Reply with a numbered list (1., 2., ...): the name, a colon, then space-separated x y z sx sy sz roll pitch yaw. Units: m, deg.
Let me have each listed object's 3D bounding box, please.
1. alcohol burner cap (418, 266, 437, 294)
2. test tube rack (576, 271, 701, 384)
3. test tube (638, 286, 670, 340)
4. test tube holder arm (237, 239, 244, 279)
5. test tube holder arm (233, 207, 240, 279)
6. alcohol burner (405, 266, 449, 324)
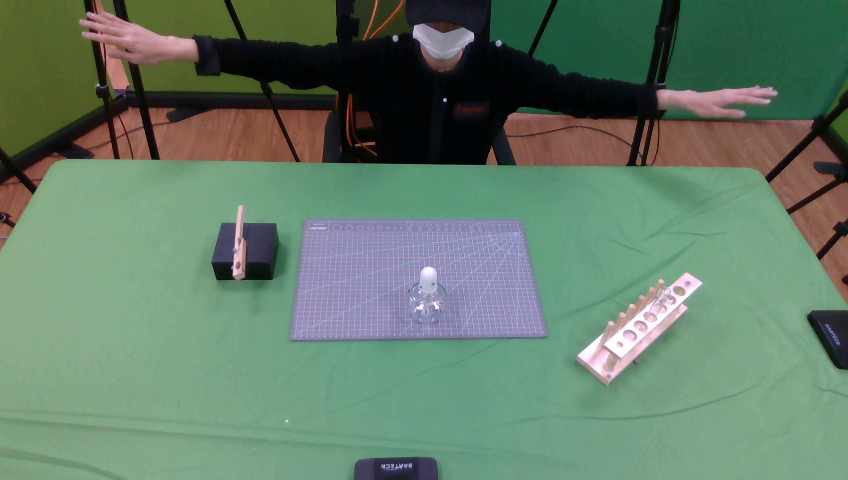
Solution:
1. alcohol burner cap: 0.006 0.065 1.017 0.034 0.048 0.033 1 48 0
2. test tube rack: 0.373 0.138 1.047 0.242 0.085 0.066 -31 56 -29
3. test tube: 0.373 0.122 0.994 0.017 0.151 0.017 0 51 0
4. test tube holder arm: -0.325 0.032 1.076 0.010 0.015 0.087 -10 47 -7
5. test tube holder arm: -0.341 0.002 1.106 0.013 0.015 0.177 -11 47 -8
6. alcohol burner: 0.005 0.089 1.043 0.078 0.120 0.077 1 45 -1
